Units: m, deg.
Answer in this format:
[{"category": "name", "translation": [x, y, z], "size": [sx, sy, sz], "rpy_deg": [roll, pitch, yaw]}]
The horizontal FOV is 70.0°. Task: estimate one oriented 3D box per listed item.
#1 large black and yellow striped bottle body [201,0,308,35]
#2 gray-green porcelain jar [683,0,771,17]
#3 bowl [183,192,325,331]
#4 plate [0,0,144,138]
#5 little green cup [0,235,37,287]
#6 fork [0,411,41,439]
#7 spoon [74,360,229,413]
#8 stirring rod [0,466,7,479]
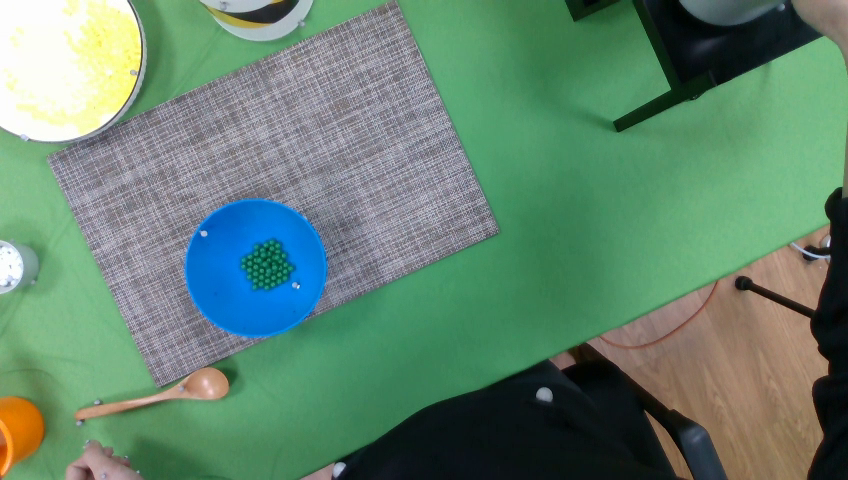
[{"category": "large black and yellow striped bottle body", "translation": [-0.192, -0.300, 0.618], "size": [0.131, 0.183, 0.131], "rpy_deg": [0, 92, -2]}, {"category": "gray-green porcelain jar", "translation": [0.266, -0.246, 0.487], "size": [0.106, 0.126, 0.106], "rpy_deg": [0, 93, -1]}, {"category": "bowl", "translation": [-0.182, 0.022, 0.685], "size": [0.151, 0.076, 0.151], "rpy_deg": [0, 93, -2]}, {"category": "plate", "translation": [-0.420, -0.219, 0.687], "size": [0.209, 0.038, 0.209], "rpy_deg": [0, 93, -2]}, {"category": "little green cup", "translation": [-0.483, 0.023, 0.697], "size": [0.061, 0.038, 0.061], "rpy_deg": [0, 94, -1]}, {"category": "fork", "translation": [-0.533, 0.222, 0.651], "size": [0.208, 0.018, 0.028], "rpy_deg": [-7, 96, -45]}, {"category": "spoon", "translation": [-0.325, 0.179, 0.719], "size": [0.194, 0.021, 0.042], "rpy_deg": [-14, 107, -2]}, {"category": "stirring rod", "translation": [-0.485, 0.196, 0.649], "size": [0.014, 0.006, 0.176], "rpy_deg": [-24, 94, 1]}]
